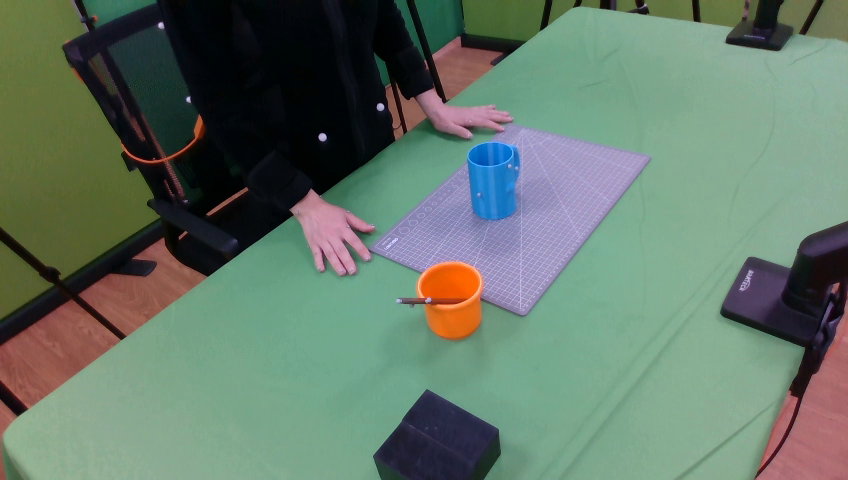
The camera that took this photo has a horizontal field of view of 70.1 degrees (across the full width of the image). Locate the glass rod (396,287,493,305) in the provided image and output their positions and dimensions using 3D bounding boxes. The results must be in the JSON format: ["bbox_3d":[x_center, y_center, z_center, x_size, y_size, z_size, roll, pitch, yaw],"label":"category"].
[{"bbox_3d":[0.034,0.074,0.802,0.008,0.008,0.201,29,19,36],"label":"glass rod"}]

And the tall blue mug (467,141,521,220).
[{"bbox_3d":[0.119,-0.109,1.020,0.077,0.108,0.107,3,42,15],"label":"tall blue mug"}]
